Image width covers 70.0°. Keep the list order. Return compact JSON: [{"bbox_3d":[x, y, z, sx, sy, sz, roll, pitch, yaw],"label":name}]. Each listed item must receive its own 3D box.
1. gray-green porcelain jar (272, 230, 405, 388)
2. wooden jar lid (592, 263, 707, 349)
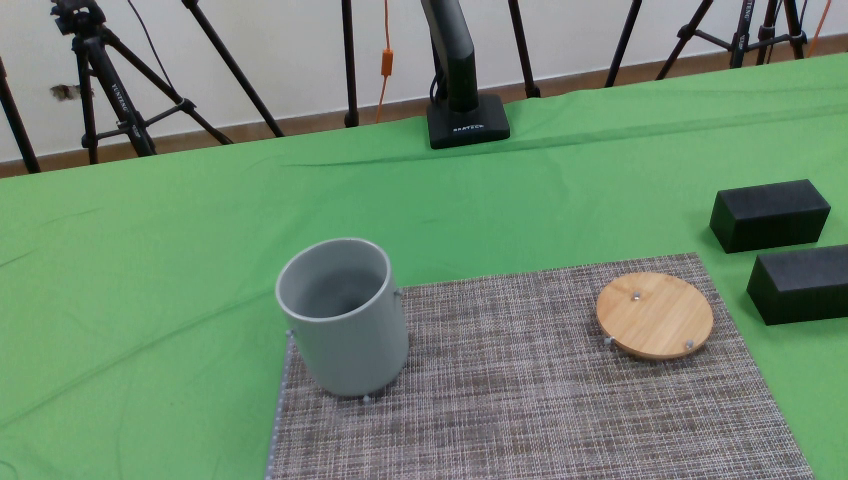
[{"bbox_3d":[-0.075,0.071,0.580,0.106,0.128,0.105,-5,43,5],"label":"gray-green porcelain jar"},{"bbox_3d":[0.223,0.067,0.606,0.108,0.021,0.107,-5,44,6],"label":"wooden jar lid"}]
